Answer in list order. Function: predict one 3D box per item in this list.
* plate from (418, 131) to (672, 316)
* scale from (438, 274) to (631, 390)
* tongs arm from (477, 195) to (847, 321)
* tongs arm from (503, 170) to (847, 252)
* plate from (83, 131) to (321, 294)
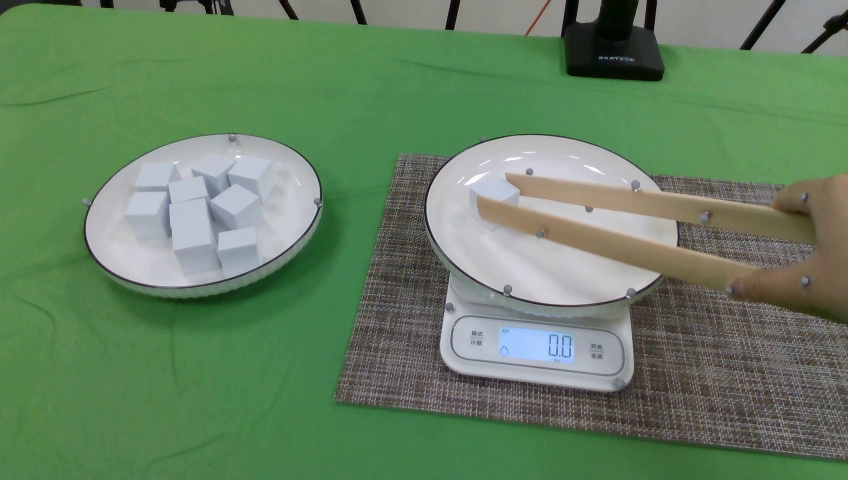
[{"bbox_3d":[0.098,-0.015,0.512,0.208,0.039,0.205,1,47,-1],"label":"plate"},{"bbox_3d":[0.095,0.028,0.516,0.148,0.032,0.199,6,47,5],"label":"scale"},{"bbox_3d":[0.186,0.013,0.381,0.384,0.028,0.028,16,45,41],"label":"tongs arm"},{"bbox_3d":[0.204,-0.003,0.394,0.381,0.027,0.050,13,46,39],"label":"tongs arm"},{"bbox_3d":[-0.199,-0.026,0.564,0.209,0.038,0.207,1,46,-1],"label":"plate"}]
